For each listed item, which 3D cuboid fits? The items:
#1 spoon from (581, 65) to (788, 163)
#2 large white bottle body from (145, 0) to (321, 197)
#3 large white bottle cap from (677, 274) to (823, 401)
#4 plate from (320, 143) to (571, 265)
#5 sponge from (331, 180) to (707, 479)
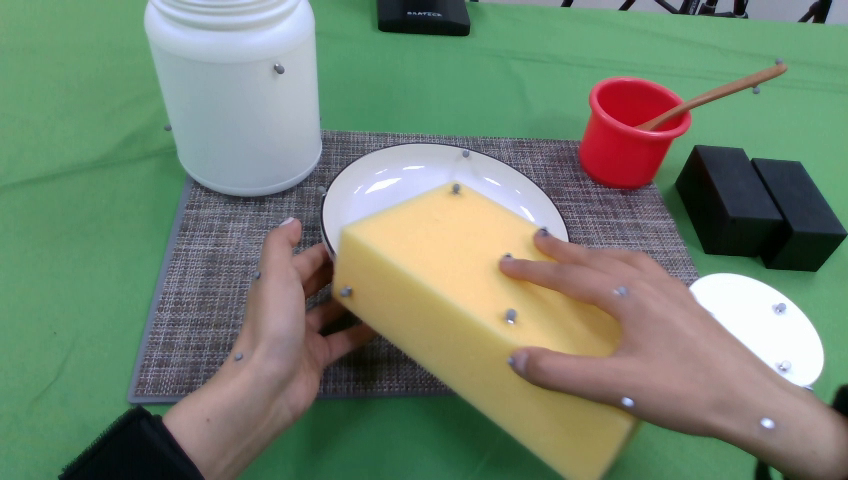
[{"bbox_3d":[0.244,-0.120,0.582,0.193,0.022,0.041,-25,38,29],"label":"spoon"},{"bbox_3d":[-0.156,-0.144,0.517,0.131,0.186,0.129,4,47,-4],"label":"large white bottle body"},{"bbox_3d":[0.261,0.076,0.491,0.115,0.018,0.113,6,47,-6],"label":"large white bottle cap"},{"bbox_3d":[0.018,-0.005,0.508,0.209,0.038,0.207,7,45,-7],"label":"plate"},{"bbox_3d":[0.055,0.044,0.393,0.205,0.061,0.118,32,39,27],"label":"sponge"}]
